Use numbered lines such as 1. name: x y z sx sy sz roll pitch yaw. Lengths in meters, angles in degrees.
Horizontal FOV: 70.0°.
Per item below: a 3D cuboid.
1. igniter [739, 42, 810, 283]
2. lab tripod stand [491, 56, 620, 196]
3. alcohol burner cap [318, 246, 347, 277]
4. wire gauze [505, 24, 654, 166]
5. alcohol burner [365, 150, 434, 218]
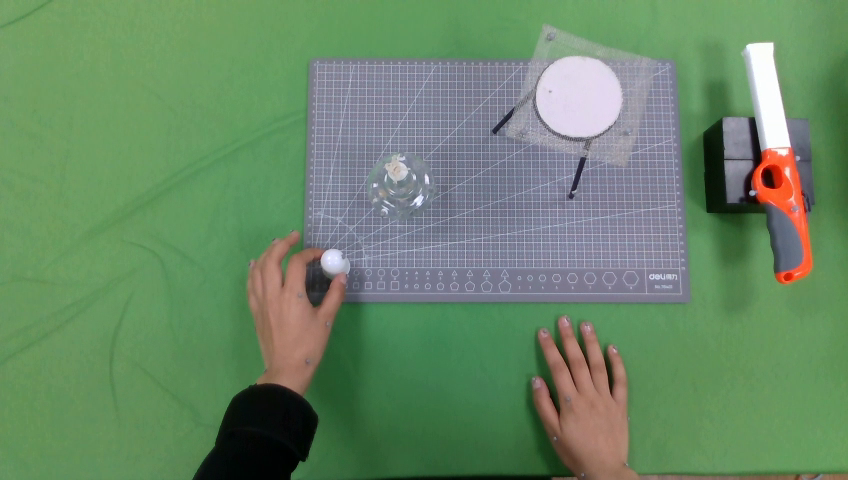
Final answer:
1. igniter: 0.388 -0.090 0.672 0.057 0.025 0.275 -3 79 1
2. lab tripod stand: 0.153 -0.135 0.667 0.148 0.132 0.147 0 79 0
3. alcohol burner cap: -0.105 0.022 0.684 0.034 0.048 0.033 1 75 -4
4. wire gauze: 0.156 -0.144 0.600 0.121 0.011 0.124 19 80 2
5. alcohol burner: -0.028 -0.065 0.664 0.078 0.119 0.077 0 83 0
